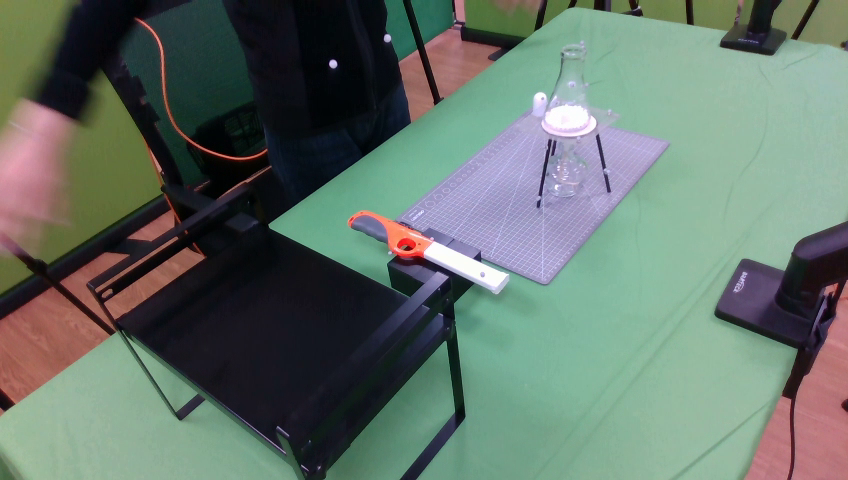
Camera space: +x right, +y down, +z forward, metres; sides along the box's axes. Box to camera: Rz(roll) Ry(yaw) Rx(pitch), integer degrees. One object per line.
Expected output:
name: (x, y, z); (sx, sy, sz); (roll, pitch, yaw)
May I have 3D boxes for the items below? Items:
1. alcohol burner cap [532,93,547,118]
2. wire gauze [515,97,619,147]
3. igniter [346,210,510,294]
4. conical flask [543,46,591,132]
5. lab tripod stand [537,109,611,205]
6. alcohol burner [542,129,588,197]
alcohol burner cap: (0.240, -0.281, 1.251); (0.034, 0.048, 0.033); (-4, 42, 4)
wire gauze: (0.230, -0.189, 0.970); (0.120, 0.011, 0.125); (25, 51, 34)
igniter: (-0.002, 0.012, 0.884); (0.274, 0.025, 0.057); (24, 53, 28)
conical flask: (0.225, -0.234, 0.932); (0.075, 0.122, 0.075); (-3, 41, 3)
lab tripod stand: (0.244, -0.141, 1.014); (0.148, 0.132, 0.147); (-3, 39, 3)
alcohol burner: (0.239, -0.133, 1.021); (0.078, 0.119, 0.077); (-4, 38, 4)
